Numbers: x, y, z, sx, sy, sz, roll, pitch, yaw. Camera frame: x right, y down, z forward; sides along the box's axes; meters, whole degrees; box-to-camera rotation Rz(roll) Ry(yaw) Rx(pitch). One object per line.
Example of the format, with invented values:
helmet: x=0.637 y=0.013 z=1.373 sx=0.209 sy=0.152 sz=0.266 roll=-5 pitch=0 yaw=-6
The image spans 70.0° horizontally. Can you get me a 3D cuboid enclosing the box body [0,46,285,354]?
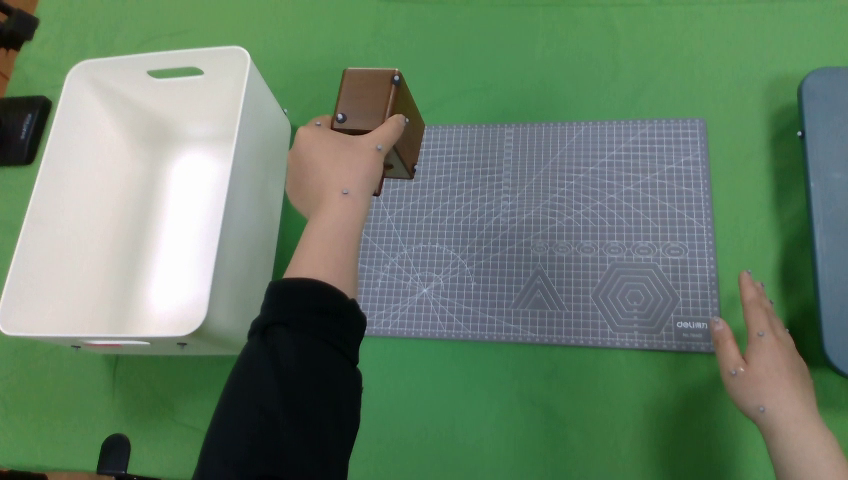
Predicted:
box body: x=-0.332 y=-0.040 z=0.768 sx=0.254 sy=0.161 sz=0.361 roll=-2 pitch=70 yaw=10

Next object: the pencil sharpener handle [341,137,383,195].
pencil sharpener handle: x=-0.058 y=-0.071 z=0.589 sx=0.036 sy=0.068 sz=0.030 roll=2 pitch=71 yaw=23

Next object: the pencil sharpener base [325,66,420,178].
pencil sharpener base: x=-0.049 y=-0.115 z=0.616 sx=0.061 sy=0.108 sz=0.076 roll=5 pitch=72 yaw=15

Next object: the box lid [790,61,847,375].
box lid: x=0.542 y=-0.035 z=0.638 sx=0.263 sy=0.015 sz=0.369 roll=3 pitch=71 yaw=11
